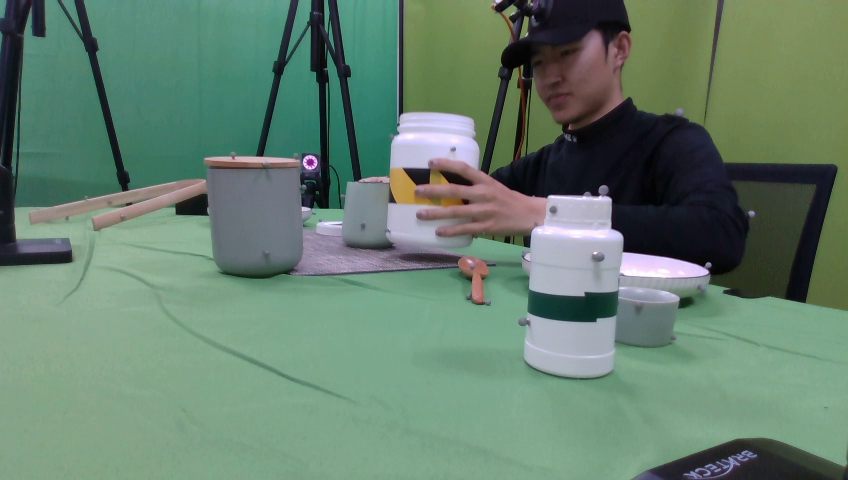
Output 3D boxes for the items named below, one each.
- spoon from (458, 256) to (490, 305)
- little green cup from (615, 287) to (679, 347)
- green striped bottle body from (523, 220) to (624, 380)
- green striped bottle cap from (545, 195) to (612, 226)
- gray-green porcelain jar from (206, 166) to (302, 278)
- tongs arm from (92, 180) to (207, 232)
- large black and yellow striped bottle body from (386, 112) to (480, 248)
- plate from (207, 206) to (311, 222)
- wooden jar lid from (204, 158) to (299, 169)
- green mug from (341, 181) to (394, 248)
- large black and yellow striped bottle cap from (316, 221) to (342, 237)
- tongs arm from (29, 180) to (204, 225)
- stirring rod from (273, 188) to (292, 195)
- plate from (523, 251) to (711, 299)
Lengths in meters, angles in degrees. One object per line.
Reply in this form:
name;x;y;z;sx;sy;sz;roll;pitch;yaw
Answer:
spoon;0.059;0.044;0.695;0.041;0.021;0.194;17;7;1
little green cup;0.180;0.064;0.506;0.061;0.038;0.061;2;8;0
green striped bottle body;0.104;0.031;0.422;0.063;0.119;0.063;2;8;0
green striped bottle cap;0.106;-0.020;0.414;0.044;0.020;0.044;2;4;0
gray-green porcelain jar;-0.201;-0.024;0.724;0.106;0.126;0.106;-1;9;1
tongs arm;-0.534;-0.076;1.221;0.028;0.028;0.388;-2;15;12
large black and yellow striped bottle body;0.013;-0.085;0.875;0.131;0.184;0.130;3;4;0
plate;-0.342;-0.050;1.259;0.208;0.039;0.207;2;7;0
wooden jar lid;-0.202;-0.086;0.714;0.108;0.020;0.108;3;11;0
green mug;-0.090;-0.044;0.996;0.093;0.105;0.125;0;7;-10
large black and yellow striped bottle cap;-0.147;-0.021;1.147;0.115;0.019;0.115;2;9;0
tongs arm;-0.609;-0.083;1.245;0.050;0.026;0.386;5;16;23
stirring rod;-0.354;-0.122;1.518;0.006;0.014;0.176;2;6;1
plate;0.219;0.041;0.706;0.209;0.038;0.209;2;7;0
